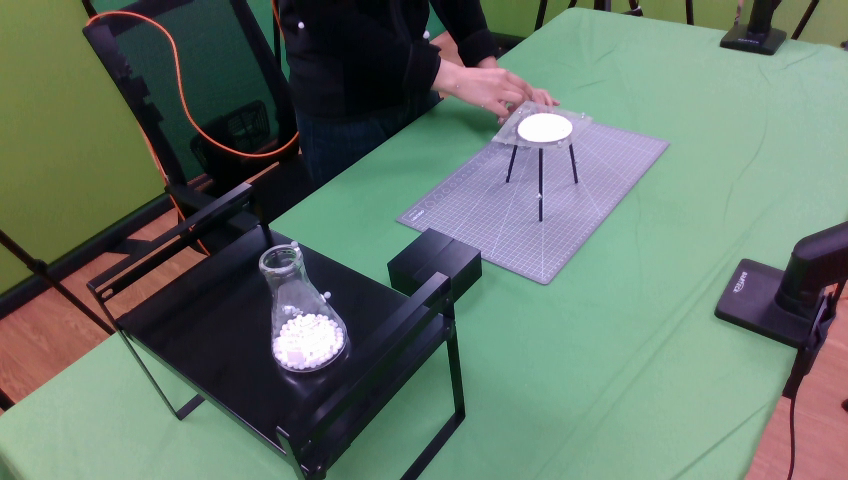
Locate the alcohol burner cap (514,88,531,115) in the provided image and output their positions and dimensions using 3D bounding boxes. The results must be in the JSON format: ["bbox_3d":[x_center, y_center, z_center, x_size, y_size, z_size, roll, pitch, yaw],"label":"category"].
[{"bbox_3d":[0.183,-0.260,1.126,0.034,0.048,0.033,-6,41,6],"label":"alcohol burner cap"}]

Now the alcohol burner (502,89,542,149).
[{"bbox_3d":[0.186,-0.235,1.149,0.078,0.119,0.077,-4,42,5],"label":"alcohol burner"}]

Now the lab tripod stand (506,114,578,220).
[{"bbox_3d":[0.198,-0.128,1.005,0.148,0.132,0.147,-3,42,3],"label":"lab tripod stand"}]

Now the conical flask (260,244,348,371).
[{"bbox_3d":[-0.118,0.060,0.565,0.075,0.122,0.075,-5,41,4],"label":"conical flask"}]

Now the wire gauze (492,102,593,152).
[{"bbox_3d":[0.190,-0.180,0.964,0.120,0.011,0.125,19,48,27],"label":"wire gauze"}]
